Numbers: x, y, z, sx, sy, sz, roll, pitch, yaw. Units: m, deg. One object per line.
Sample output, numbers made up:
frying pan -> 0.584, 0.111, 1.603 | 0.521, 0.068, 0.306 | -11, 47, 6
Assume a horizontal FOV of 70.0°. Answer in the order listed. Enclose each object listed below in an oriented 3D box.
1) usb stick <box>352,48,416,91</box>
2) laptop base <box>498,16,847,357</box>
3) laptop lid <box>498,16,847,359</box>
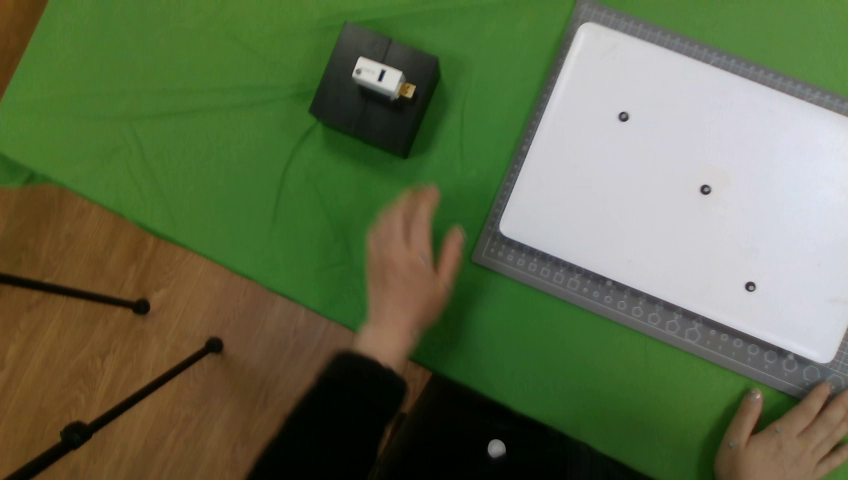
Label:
usb stick -> -0.037, -0.161, 0.579 | 0.059, 0.027, 0.021 | 23, 89, 1
laptop base -> 0.278, -0.055, 0.611 | 0.354, 0.023, 0.235 | 22, 94, 4
laptop lid -> 0.277, -0.053, 0.600 | 0.356, 0.013, 0.241 | 24, 93, 4
